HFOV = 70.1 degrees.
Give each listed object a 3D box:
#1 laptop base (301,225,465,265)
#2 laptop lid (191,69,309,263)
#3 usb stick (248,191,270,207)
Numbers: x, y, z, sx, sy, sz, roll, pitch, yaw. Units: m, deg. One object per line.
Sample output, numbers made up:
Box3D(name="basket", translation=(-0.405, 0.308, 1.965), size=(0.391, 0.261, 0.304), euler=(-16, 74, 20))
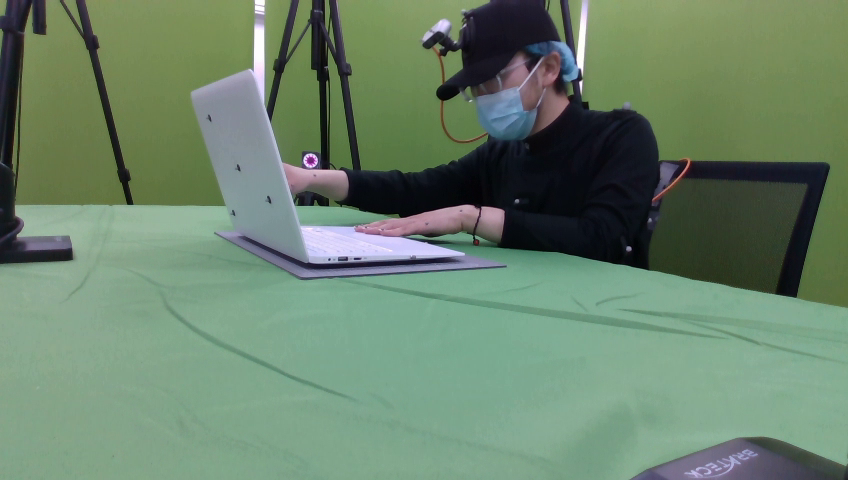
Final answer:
Box3D(name="laptop base", translation=(-0.128, 0.005, 0.937), size=(0.237, 0.023, 0.352), euler=(2, 6, -32))
Box3D(name="laptop lid", translation=(-0.255, -0.103, 0.842), size=(0.013, 0.242, 0.355), euler=(-22, 20, -27))
Box3D(name="usb stick", translation=(-0.312, -0.077, 1.138), size=(0.021, 0.027, 0.059), euler=(26, 6, 5))
